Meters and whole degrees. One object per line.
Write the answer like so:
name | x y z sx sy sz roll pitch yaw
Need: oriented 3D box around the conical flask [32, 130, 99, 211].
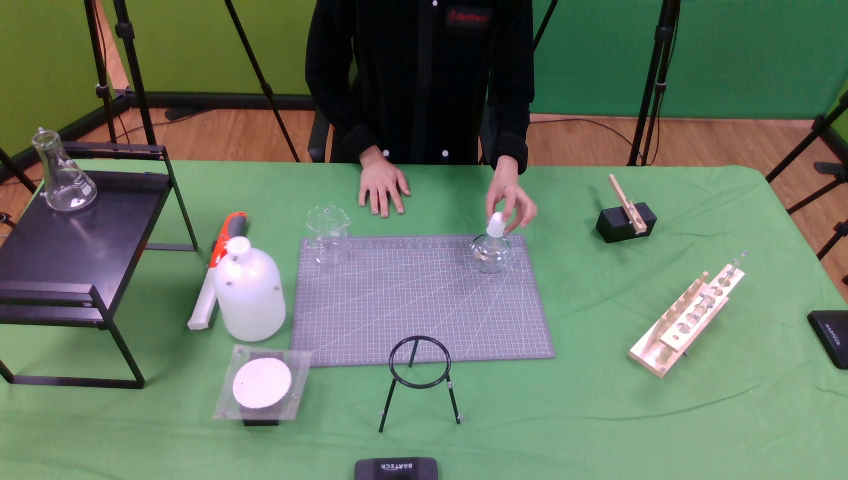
conical flask | -0.565 -0.110 0.944 0.075 0.122 0.075 2 46 -2

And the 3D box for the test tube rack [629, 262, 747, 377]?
test tube rack | 0.464 0.126 1.061 0.242 0.085 0.066 -34 56 -31

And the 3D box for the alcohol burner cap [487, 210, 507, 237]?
alcohol burner cap | 0.134 -0.033 1.096 0.034 0.048 0.033 5 45 -5

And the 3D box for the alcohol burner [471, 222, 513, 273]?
alcohol burner | 0.128 0.005 1.132 0.078 0.120 0.077 0 47 0

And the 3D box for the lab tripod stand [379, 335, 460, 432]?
lab tripod stand | -0.010 0.214 0.911 0.148 0.132 0.147 1 45 0

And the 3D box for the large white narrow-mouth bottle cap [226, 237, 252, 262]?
large white narrow-mouth bottle cap | -0.282 0.014 0.923 0.038 0.024 0.037 2 46 -2

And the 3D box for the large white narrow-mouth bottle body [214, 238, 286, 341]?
large white narrow-mouth bottle body | -0.285 0.073 0.986 0.102 0.195 0.101 2 46 -2

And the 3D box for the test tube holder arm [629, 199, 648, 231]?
test tube holder arm | 0.423 -0.050 1.206 0.010 0.015 0.087 1 41 -12

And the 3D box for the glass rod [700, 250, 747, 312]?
glass rod | 0.500 0.075 1.021 0.008 0.201 0.008 0 55 1

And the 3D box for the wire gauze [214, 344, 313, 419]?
wire gauze | -0.241 0.213 0.915 0.121 0.011 0.124 5 46 1

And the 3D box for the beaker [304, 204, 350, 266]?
beaker | -0.178 -0.006 1.132 0.084 0.101 0.073 4 46 -1

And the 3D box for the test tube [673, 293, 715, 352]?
test tube | 0.429 0.137 0.979 0.017 0.151 0.017 5 46 -5

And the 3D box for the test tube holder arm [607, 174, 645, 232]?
test tube holder arm | 0.411 -0.080 1.238 0.013 0.015 0.177 1 42 -13

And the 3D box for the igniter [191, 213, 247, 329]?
igniter | -0.376 0.047 1.121 0.057 0.025 0.275 -4 46 6
